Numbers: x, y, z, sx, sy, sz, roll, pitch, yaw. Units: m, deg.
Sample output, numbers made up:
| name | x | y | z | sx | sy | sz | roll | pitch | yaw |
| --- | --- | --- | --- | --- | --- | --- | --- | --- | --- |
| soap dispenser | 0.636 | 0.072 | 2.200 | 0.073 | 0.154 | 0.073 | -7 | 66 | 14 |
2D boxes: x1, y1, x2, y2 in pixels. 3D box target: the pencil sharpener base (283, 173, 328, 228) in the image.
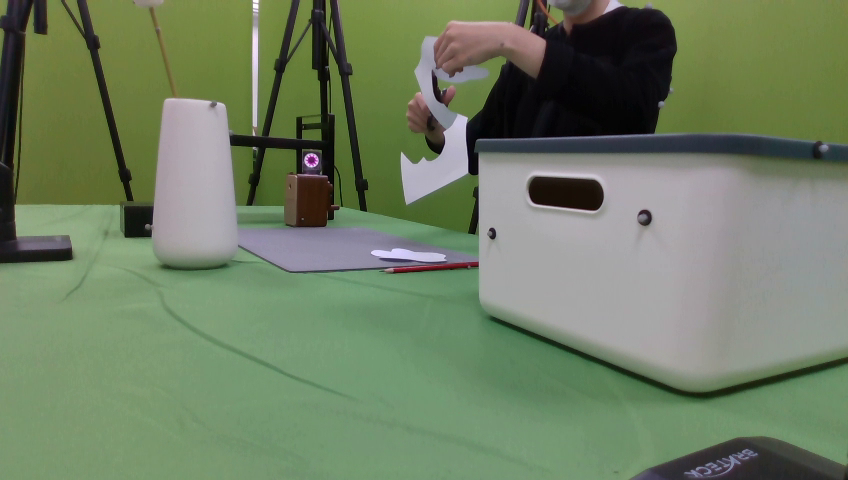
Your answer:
| name | x | y | z | sx | sy | sz | roll | pitch | yaw |
| --- | --- | --- | --- | --- | --- | --- | --- | --- | --- |
| pencil sharpener base | -0.239 | -0.081 | 1.231 | 0.077 | 0.107 | 0.061 | -2 | 8 | -36 |

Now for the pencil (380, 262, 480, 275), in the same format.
| name | x | y | z | sx | sy | sz | roll | pitch | yaw |
| --- | --- | --- | --- | --- | --- | --- | --- | --- | --- |
| pencil | 0.030 | 0.037 | 0.794 | 0.195 | 0.012 | 0.012 | -3 | 9 | -30 |

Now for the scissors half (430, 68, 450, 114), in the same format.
| name | x | y | z | sx | sy | sz | roll | pitch | yaw |
| --- | --- | --- | --- | --- | --- | --- | --- | --- | --- |
| scissors half | 0.027 | -0.271 | 1.089 | 0.013 | 0.040 | 0.175 | 21 | -2 | 13 |

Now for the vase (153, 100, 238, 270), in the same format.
| name | x | y | z | sx | sy | sz | roll | pitch | yaw |
| --- | --- | --- | --- | --- | --- | --- | --- | --- | --- |
| vase | -0.278 | -0.066 | 0.736 | 0.098 | 0.200 | 0.098 | 2 | 9 | 0 |

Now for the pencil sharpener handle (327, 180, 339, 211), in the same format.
| name | x | y | z | sx | sy | sz | roll | pitch | yaw |
| --- | --- | --- | --- | --- | --- | --- | --- | --- | --- |
| pencil sharpener handle | -0.194 | -0.094 | 1.256 | 0.031 | 0.067 | 0.036 | -2 | -6 | -36 |

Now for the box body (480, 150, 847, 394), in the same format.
| name | x | y | z | sx | sy | sz | roll | pitch | yaw |
| --- | --- | --- | --- | --- | --- | --- | --- | --- | --- |
| box body | 0.254 | 0.001 | 0.539 | 0.366 | 0.160 | 0.253 | -2 | 9 | -31 |

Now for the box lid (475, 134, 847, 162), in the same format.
| name | x | y | z | sx | sy | sz | roll | pitch | yaw |
| --- | --- | --- | --- | --- | --- | --- | --- | --- | --- |
| box lid | 0.256 | -0.073 | 0.528 | 0.373 | 0.015 | 0.262 | -2 | 8 | -31 |

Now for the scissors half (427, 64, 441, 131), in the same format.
| name | x | y | z | sx | sy | sz | roll | pitch | yaw |
| --- | --- | --- | --- | --- | --- | --- | --- | --- | --- |
| scissors half | 0.017 | -0.253 | 1.084 | 0.013 | 0.040 | 0.175 | 26 | -25 | 14 |

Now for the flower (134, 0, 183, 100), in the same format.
| name | x | y | z | sx | sy | sz | roll | pitch | yaw |
| --- | --- | --- | --- | --- | --- | --- | --- | --- | --- |
| flower | -0.282 | -0.147 | 0.713 | 0.038 | 0.362 | 0.044 | -23 | 24 | -31 |
